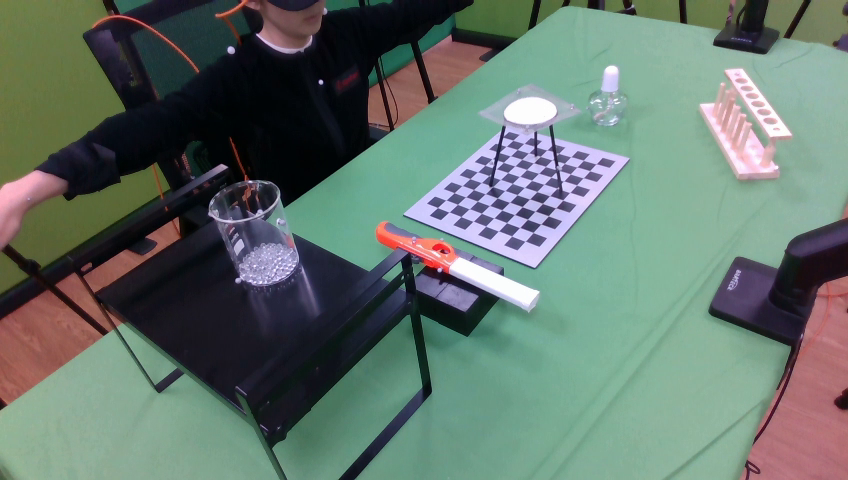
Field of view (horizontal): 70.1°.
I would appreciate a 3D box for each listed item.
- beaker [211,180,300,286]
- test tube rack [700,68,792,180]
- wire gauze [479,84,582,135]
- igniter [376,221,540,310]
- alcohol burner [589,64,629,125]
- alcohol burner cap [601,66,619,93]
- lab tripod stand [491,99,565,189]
[{"bbox_3d":[-0.183,-0.007,0.674,0.074,0.101,0.083,-1,40,7],"label":"beaker"},{"bbox_3d":[0.572,-0.215,1.090,0.066,0.085,0.241,-3,41,7],"label":"test tube rack"},{"bbox_3d":[0.176,-0.216,1.006,0.125,0.011,0.120,-29,46,-22],"label":"wire gauze"},{"bbox_3d":[0.037,0.031,0.858,0.274,0.025,0.057,24,46,29],"label":"igniter"},{"bbox_3d":[0.364,-0.287,1.184,0.078,0.119,0.077,-4,39,4],"label":"alcohol burner"},{"bbox_3d":[0.361,-0.312,1.166,0.034,0.048,0.033,-3,38,3],"label":"alcohol burner cap"},{"bbox_3d":[0.184,-0.163,1.046,0.148,0.132,0.147,-5,42,5],"label":"lab tripod stand"}]
